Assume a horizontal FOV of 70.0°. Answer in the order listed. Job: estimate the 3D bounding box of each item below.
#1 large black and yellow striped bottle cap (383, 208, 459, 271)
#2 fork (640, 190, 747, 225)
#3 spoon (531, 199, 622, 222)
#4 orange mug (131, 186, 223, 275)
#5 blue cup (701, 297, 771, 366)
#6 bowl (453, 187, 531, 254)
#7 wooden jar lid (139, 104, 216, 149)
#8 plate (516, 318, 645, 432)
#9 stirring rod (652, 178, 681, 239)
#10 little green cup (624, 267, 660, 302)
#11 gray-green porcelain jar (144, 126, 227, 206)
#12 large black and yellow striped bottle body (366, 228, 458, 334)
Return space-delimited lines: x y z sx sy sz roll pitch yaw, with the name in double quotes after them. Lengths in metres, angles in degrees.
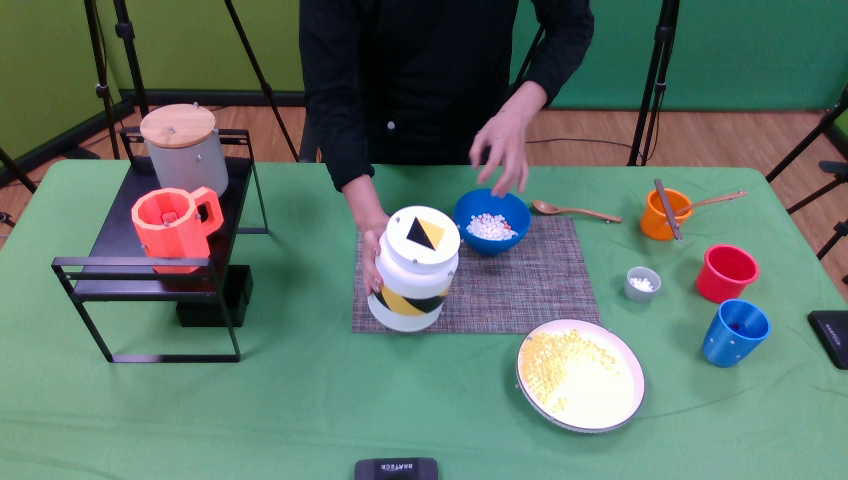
-0.004 -0.003 0.917 0.115 0.019 0.114 8 49 -9 "large black and yellow striped bottle cap"
0.533 -0.064 1.211 0.207 0.019 0.028 -22 28 38 "fork"
0.322 -0.060 1.279 0.194 0.022 0.041 8 33 4 "spoon"
-0.354 -0.023 0.887 0.083 0.101 0.126 31 56 24 "orange mug"
0.519 0.162 1.025 0.093 0.101 0.092 3 45 -3 "blue cup"
0.128 -0.025 1.187 0.151 0.077 0.150 2 46 -2 "bowl"
-0.372 -0.169 0.920 0.108 0.021 0.107 4 44 -4 "wooden jar lid"
0.253 0.221 0.992 0.209 0.038 0.208 2 46 -2 "plate"
0.481 -0.065 1.204 0.014 0.006 0.175 2 46 -1 "stirring rod"
0.406 0.084 1.135 0.061 0.039 0.061 3 46 -3 "little green cup"
-0.375 -0.126 0.967 0.106 0.127 0.105 2 46 -2 "gray-green porcelain jar"
-0.019 0.052 0.979 0.131 0.185 0.130 7 49 -8 "large black and yellow striped bottle body"
